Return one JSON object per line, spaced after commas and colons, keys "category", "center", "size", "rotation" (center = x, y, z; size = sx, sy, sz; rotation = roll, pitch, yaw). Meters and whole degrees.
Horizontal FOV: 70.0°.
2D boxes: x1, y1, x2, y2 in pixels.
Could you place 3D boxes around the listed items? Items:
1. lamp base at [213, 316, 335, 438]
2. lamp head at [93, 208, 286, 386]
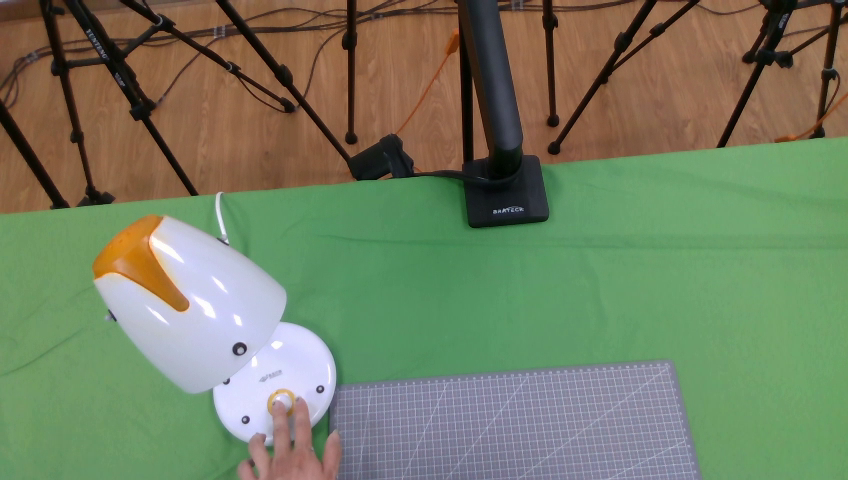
{"category": "lamp base", "center": [-0.209, 0.135, 0.734], "size": [0.160, 0.182, 0.177], "rotation": [-32, 63, -12]}
{"category": "lamp head", "center": [-0.188, 0.033, 0.470], "size": [0.112, 0.124, 0.111], "rotation": [-31, 27, 18]}
